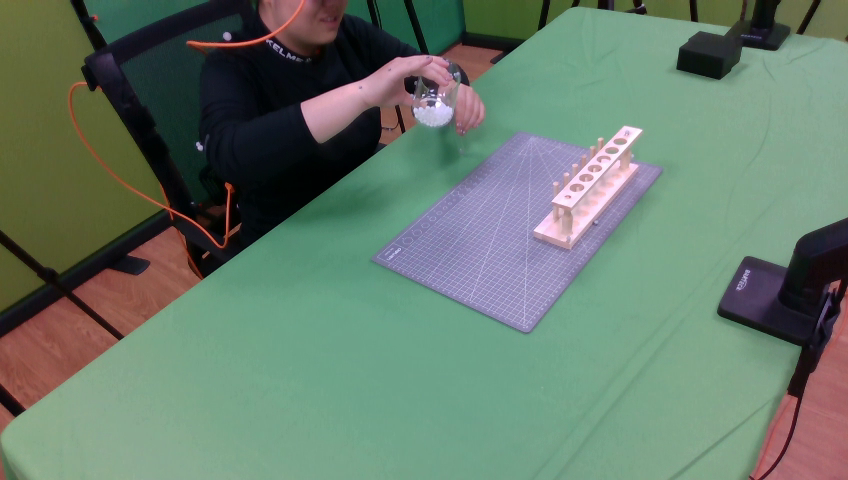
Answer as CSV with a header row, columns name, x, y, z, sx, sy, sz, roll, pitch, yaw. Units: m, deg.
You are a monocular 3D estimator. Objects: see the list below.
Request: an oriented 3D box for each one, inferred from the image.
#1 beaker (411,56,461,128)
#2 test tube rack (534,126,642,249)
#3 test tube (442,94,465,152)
name,x,y,z,sx,sy,sz,roll,pitch,yaw
beaker,0.020,-0.238,0.992,0.073,0.084,0.100,-5,49,19
test tube rack,0.271,-0.095,0.990,0.066,0.085,0.243,23,49,33
test tube,0.055,-0.211,1.111,0.017,0.151,0.017,-7,58,11
